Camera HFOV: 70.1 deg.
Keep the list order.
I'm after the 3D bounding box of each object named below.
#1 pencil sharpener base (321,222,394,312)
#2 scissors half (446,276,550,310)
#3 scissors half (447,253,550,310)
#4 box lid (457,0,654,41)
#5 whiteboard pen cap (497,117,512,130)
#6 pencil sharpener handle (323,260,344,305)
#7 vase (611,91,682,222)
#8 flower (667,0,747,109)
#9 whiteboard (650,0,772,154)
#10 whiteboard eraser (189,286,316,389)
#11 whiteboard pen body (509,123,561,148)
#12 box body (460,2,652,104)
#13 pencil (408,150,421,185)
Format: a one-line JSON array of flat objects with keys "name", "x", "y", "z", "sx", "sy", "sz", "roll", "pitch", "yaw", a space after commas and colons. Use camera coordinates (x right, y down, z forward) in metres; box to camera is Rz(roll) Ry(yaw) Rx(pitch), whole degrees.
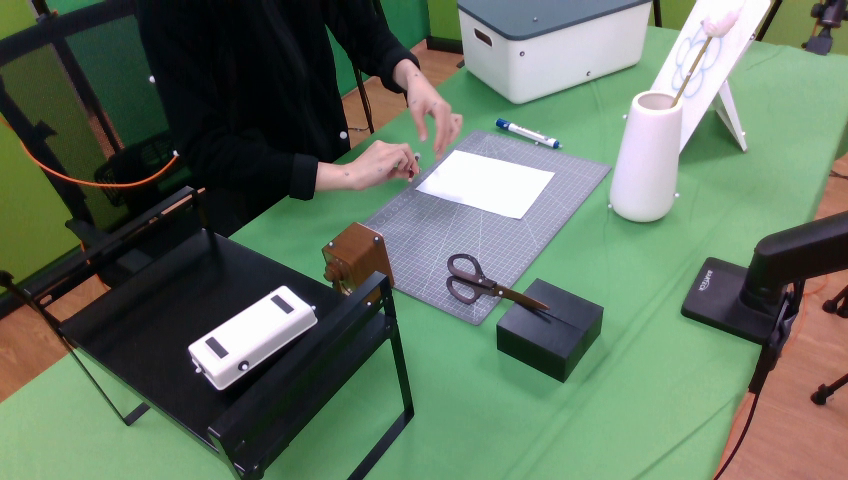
[{"name": "pencil sharpener base", "x": -0.096, "y": 0.041, "z": 0.873, "sx": 0.061, "sy": 0.107, "sz": 0.077, "roll": 26, "pitch": 54, "yaw": 32}, {"name": "scissors half", "x": 0.098, "y": 0.077, "z": 0.827, "sx": 0.174, "sy": 0.040, "sz": 0.013, "roll": 6, "pitch": 14, "yaw": 44}, {"name": "scissors half", "x": 0.098, "y": 0.058, "z": 0.821, "sx": 0.173, "sy": 0.040, "sz": 0.013, "roll": 27, "pitch": 33, "yaw": 37}, {"name": "box lid", "x": 0.285, "y": -0.522, "z": 1.323, "sx": 0.373, "sy": 0.015, "sz": 0.261, "roll": -22, "pitch": 43, "yaw": -16}, {"name": "whiteboard pen cap", "x": 0.165, "y": -0.235, "z": 1.227, "sx": 0.033, "sy": 0.018, "sz": 0.018, "roll": 32, "pitch": 53, "yaw": 30}, {"name": "pencil sharpener handle", "x": -0.131, "y": 0.062, "z": 0.839, "sx": 0.035, "sy": 0.068, "sz": 0.031, "roll": 29, "pitch": 56, "yaw": 28}, {"name": "vase", "x": 0.348, "y": -0.125, "z": 0.935, "sx": 0.098, "sy": 0.201, "sz": 0.097, "roll": -3, "pitch": 40, "yaw": 3}, {"name": "flower", "x": 0.354, "y": -0.187, "z": 0.879, "sx": 0.038, "sy": 0.362, "sz": 0.044, "roll": 30, "pitch": 48, "yaw": 14}, {"name": "whiteboard", "x": 0.543, "y": -0.298, "z": 1.076, "sx": 0.144, "sy": 0.305, "sz": 0.216, "roll": 12, "pitch": 40, "yaw": -7}, {"name": "whiteboard eraser", "x": -0.166, "y": 0.096, "z": 0.593, "sx": 0.113, "sy": 0.042, "sz": 0.055, "roll": -36, "pitch": 47, "yaw": -29}, {"name": "whiteboard pen body", "x": 0.208, "y": -0.211, "z": 1.195, "sx": 0.139, "sy": 0.017, "sz": 0.017, "roll": 30, "pitch": 52, "yaw": 33}, {"name": "box body", "x": 0.291, "y": -0.465, "z": 1.371, "sx": 0.365, "sy": 0.161, "sz": 0.252, "roll": -22, "pitch": 42, "yaw": -16}, {"name": "pencil", "x": -0.017, "y": -0.125, "z": 1.029, "sx": 0.012, "sy": 0.012, "sz": 0.193, "roll": -3, "pitch": 23, "yaw": 5}]
